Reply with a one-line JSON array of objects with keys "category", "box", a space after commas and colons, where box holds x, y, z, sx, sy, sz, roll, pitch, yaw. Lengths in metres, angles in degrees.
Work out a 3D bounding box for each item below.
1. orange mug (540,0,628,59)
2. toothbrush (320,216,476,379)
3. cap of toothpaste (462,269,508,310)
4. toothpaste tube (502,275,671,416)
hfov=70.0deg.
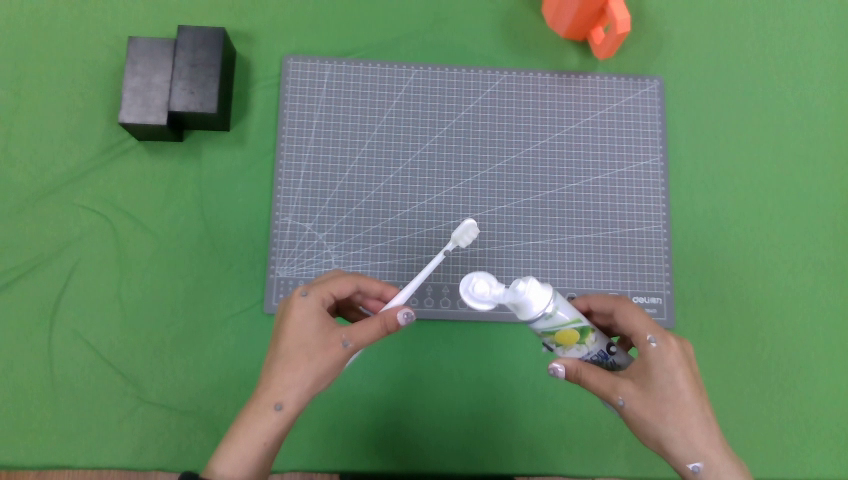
[{"category": "orange mug", "box": [0.192, -0.278, 0.692, 0.083, 0.101, 0.125, -19, 76, -7]}, {"category": "toothbrush", "box": [-0.023, 0.050, 0.488, 0.015, 0.016, 0.182, 38, 101, -29]}, {"category": "cap of toothpaste", "box": [0.047, 0.037, 0.467, 0.037, 0.011, 0.037, 6, 56, -8]}, {"category": "toothpaste tube", "box": [0.123, 0.084, 0.477, 0.166, 0.034, 0.055, 41, 120, -18]}]
